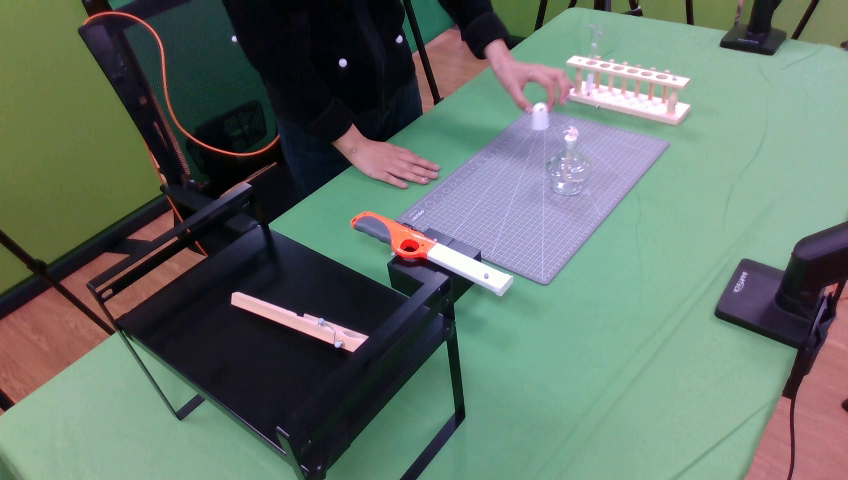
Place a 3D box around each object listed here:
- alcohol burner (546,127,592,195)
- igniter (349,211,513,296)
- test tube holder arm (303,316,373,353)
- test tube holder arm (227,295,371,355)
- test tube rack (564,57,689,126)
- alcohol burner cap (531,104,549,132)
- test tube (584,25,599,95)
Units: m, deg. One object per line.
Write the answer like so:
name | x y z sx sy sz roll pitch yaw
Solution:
alcohol burner | 0.246 -0.137 1.024 0.078 0.119 0.077 -4 38 4
igniter | 0.003 0.013 0.881 0.274 0.025 0.057 24 52 28
test tube holder arm | -0.090 0.094 0.604 0.087 0.015 0.010 14 6 26
test tube holder arm | -0.132 0.084 0.617 0.177 0.015 0.013 14 6 24
test tube rack | 0.411 -0.311 1.231 0.240 0.085 0.067 23 49 32
alcohol burner cap | 0.215 -0.229 1.121 0.034 0.048 0.033 -6 38 5
test tube | 0.339 -0.361 1.224 0.017 0.151 0.017 -4 46 4
